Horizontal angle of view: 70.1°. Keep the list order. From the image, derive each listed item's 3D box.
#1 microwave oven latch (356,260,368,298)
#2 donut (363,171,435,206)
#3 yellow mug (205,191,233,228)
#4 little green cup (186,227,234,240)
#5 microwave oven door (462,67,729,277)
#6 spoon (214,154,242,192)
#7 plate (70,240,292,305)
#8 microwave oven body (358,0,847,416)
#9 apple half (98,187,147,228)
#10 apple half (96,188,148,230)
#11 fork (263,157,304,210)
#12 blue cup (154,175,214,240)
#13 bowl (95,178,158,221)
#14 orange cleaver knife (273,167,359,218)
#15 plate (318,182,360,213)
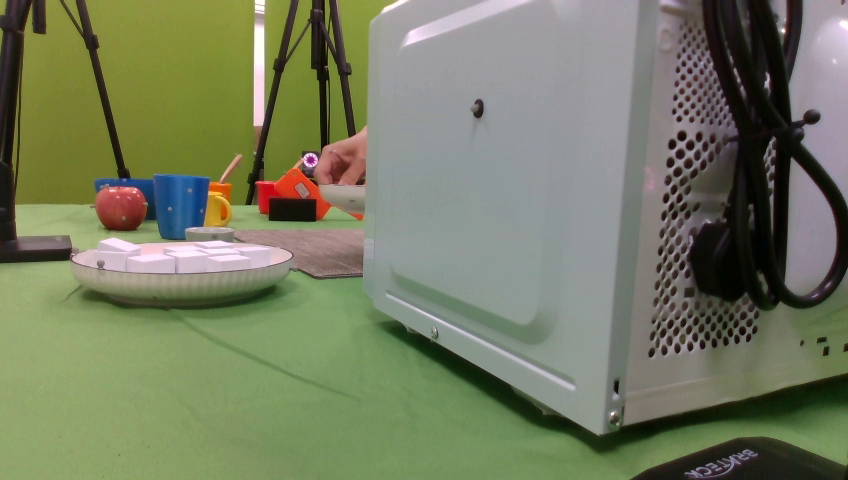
[{"bbox_3d":[-0.020,0.033,0.529,0.079,0.029,0.030,0,7,-24],"label":"microwave oven latch"},{"bbox_3d":[-0.033,-0.068,0.816,0.099,0.048,0.099,5,5,0],"label":"donut"},{"bbox_3d":[-0.415,-0.057,1.132,0.130,0.064,0.100,6,8,16],"label":"yellow mug"},{"bbox_3d":[-0.284,0.005,0.805,0.061,0.038,0.061,2,8,0],"label":"little green cup"},{"bbox_3d":[0.205,-0.096,0.811,0.354,0.243,0.039,9,11,40],"label":"microwave oven door"},{"bbox_3d":[-0.439,-0.124,1.318,0.041,0.193,0.022,6,-36,16],"label":"spoon"},{"bbox_3d":[-0.242,0.031,0.618,0.208,0.039,0.207,2,8,0],"label":"plate"},{"bbox_3d":[0.211,-0.047,0.474,0.444,0.260,0.324,-1,7,-28],"label":"microwave oven body"},{"bbox_3d":[-0.534,-0.059,1.071,0.082,0.081,0.032,-1,11,-25],"label":"apple half"},{"bbox_3d":[-0.517,-0.052,1.036,0.081,0.074,0.053,2,10,-26],"label":"apple half"},{"bbox_3d":[-0.345,-0.143,1.505,0.028,0.019,0.207,-3,46,28],"label":"fork"},{"bbox_3d":[-0.390,-0.053,0.978,0.093,0.100,0.092,3,6,0],"label":"blue cup"},{"bbox_3d":[-0.576,-0.081,1.217,0.151,0.077,0.151,3,8,0],"label":"bowl"},{"bbox_3d":[-0.238,-0.091,1.381,0.212,0.077,0.012,31,0,-19],"label":"orange cleaver knife"},{"bbox_3d":[-0.038,-0.056,0.812,0.209,0.038,0.209,2,6,0],"label":"plate"}]
